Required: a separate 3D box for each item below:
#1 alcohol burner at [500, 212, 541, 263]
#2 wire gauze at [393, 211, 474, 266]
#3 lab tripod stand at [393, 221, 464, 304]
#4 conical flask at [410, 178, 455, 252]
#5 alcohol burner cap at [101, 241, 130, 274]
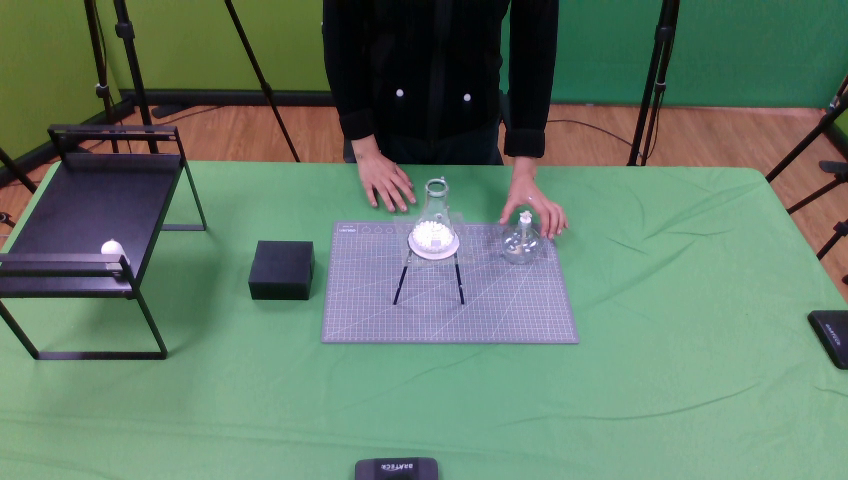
[{"bbox_3d":[0.187,-0.011,1.156,0.078,0.120,0.077,1,48,-1],"label":"alcohol burner"},{"bbox_3d":[0.015,-0.002,1.029,0.125,0.011,0.120,-6,45,-6],"label":"wire gauze"},{"bbox_3d":[0.009,0.045,1.075,0.148,0.132,0.147,2,48,-2],"label":"lab tripod stand"},{"bbox_3d":[0.017,-0.043,0.987,0.075,0.122,0.075,2,47,-2],"label":"conical flask"},{"bbox_3d":[-0.449,0.022,0.878,0.034,0.048,0.033,3,45,-2],"label":"alcohol burner cap"}]
